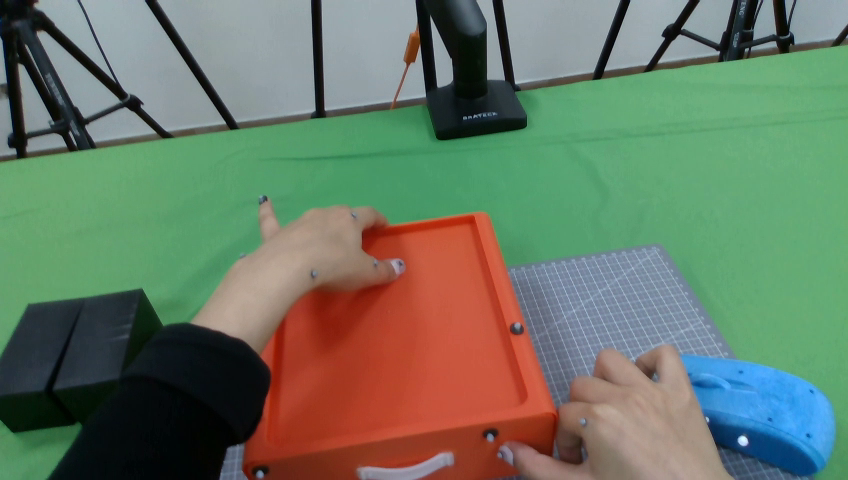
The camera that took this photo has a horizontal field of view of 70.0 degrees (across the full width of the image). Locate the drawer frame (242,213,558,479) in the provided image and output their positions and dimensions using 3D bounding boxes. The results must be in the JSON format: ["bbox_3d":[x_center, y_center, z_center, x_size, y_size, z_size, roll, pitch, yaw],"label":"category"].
[{"bbox_3d":[-0.024,0.085,0.474,0.202,0.083,0.211,-9,41,-3],"label":"drawer frame"}]

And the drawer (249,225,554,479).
[{"bbox_3d":[-0.023,0.086,0.473,0.194,0.074,0.209,-9,41,-2],"label":"drawer"}]

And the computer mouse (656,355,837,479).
[{"bbox_3d":[0.231,0.121,0.438,0.116,0.041,0.062,16,48,28],"label":"computer mouse"}]
